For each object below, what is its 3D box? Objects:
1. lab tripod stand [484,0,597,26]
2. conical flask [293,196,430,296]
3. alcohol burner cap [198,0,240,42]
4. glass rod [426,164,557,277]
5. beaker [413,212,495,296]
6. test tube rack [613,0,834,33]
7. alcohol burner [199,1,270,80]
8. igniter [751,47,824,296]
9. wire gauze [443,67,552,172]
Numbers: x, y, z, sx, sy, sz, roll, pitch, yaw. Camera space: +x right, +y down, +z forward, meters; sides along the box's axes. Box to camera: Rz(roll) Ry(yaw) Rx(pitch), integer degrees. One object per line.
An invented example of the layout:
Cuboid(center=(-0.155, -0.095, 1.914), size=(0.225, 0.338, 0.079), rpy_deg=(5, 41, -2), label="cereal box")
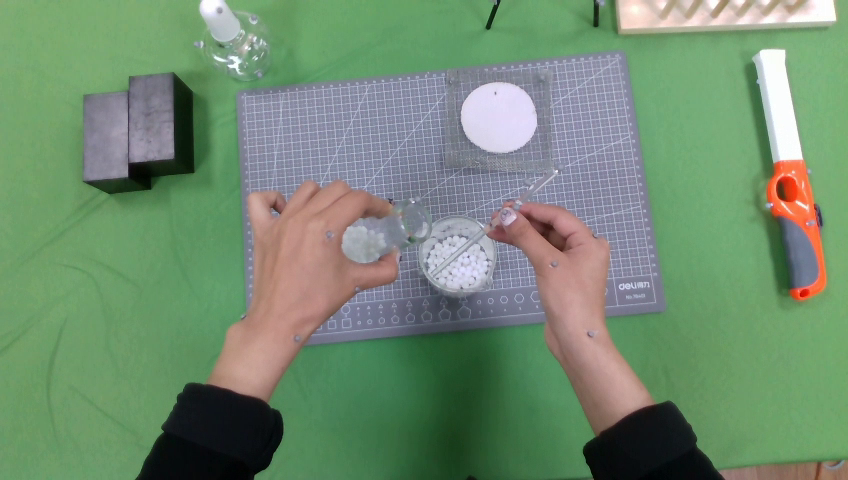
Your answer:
Cuboid(center=(0.132, -0.296, 0.649), size=(0.148, 0.132, 0.148), rpy_deg=(0, 82, 3), label="lab tripod stand")
Cuboid(center=(-0.050, 0.000, 0.526), size=(0.121, 0.076, 0.075), rpy_deg=(-21, 77, 38), label="conical flask")
Cuboid(center=(-0.213, -0.232, 0.625), size=(0.034, 0.048, 0.033), rpy_deg=(0, 74, 2), label="alcohol burner cap")
Cuboid(center=(0.052, -0.011, 0.536), size=(0.008, 0.200, 0.008), rpy_deg=(17, 55, -25), label="glass rod")
Cuboid(center=(0.034, 0.021, 0.614), size=(0.074, 0.100, 0.083), rpy_deg=(-42, 81, -4), label="beaker")
Cuboid(center=(0.340, -0.284, 0.663), size=(0.242, 0.085, 0.066), rpy_deg=(-2, 80, 2), label="test tube rack")
Cuboid(center=(-0.212, -0.223, 0.659), size=(0.078, 0.119, 0.077), rpy_deg=(-1, 81, 4), label="alcohol burner")
Cuboid(center=(0.392, -0.077, 0.656), size=(0.057, 0.025, 0.275), rpy_deg=(-2, 80, -8), label="igniter")
Cuboid(center=(0.084, -0.139, 0.685), size=(0.125, 0.011, 0.121), rpy_deg=(2, 80, 0), label="wire gauze")
